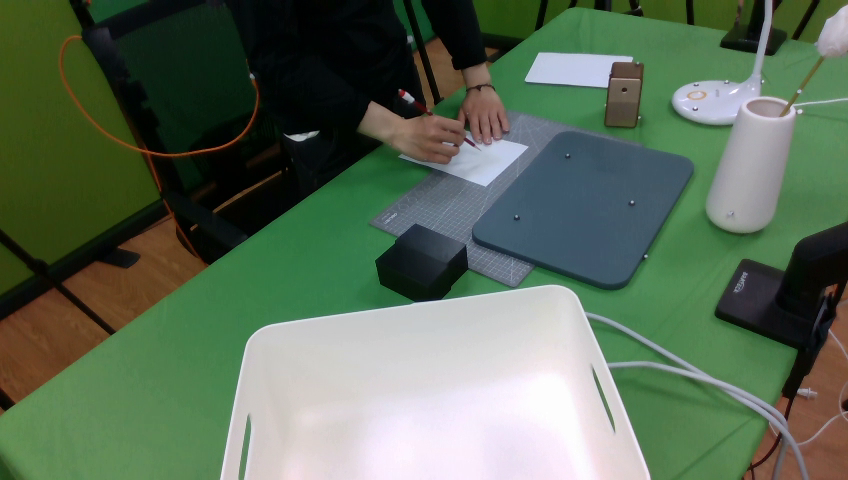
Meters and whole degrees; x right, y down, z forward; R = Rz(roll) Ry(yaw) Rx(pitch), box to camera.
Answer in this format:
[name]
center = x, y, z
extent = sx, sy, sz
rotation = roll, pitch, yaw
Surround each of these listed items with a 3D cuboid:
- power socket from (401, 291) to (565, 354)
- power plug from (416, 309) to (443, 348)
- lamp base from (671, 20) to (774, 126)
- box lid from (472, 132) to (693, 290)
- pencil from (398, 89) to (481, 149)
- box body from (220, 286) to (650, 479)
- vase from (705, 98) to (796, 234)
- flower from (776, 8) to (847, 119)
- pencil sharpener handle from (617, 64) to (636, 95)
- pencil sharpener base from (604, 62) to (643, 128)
[power socket]
center = 0.080, 0.111, 0.823
extent = 0.227, 0.033, 0.072
rotation = -5, 41, 1
[power plug]
center = 0.004, 0.121, 0.787
extent = 0.035, 0.053, 0.072
rotation = 2, 46, 8
[lamp base]
center = 0.581, -0.332, 1.154
extent = 0.179, 0.181, 0.160
rotation = 2, 41, 7
[box lid]
center = 0.273, -0.068, 1.020
extent = 0.261, 0.015, 0.372
rotation = 20, 47, 28
[pencil]
center = 0.032, -0.215, 1.095
extent = 0.195, 0.012, 0.012
rotation = 30, 37, -26
[box body]
center = 0.006, 0.210, 0.618
extent = 0.364, 0.161, 0.252
rotation = -8, 40, -1
[vase]
center = 0.480, -0.104, 0.889
extent = 0.098, 0.201, 0.097
rotation = -4, 42, 4
[flower]
center = 0.476, -0.156, 0.822
extent = 0.038, 0.362, 0.044
rotation = 8, 58, 2
[pencil sharpener handle]
center = 0.401, -0.326, 1.211
extent = 0.036, 0.068, 0.030
rotation = 16, 44, 8
[pencil sharpener base]
center = 0.390, -0.284, 1.182
extent = 0.061, 0.107, 0.076
rotation = 7, 42, 17
